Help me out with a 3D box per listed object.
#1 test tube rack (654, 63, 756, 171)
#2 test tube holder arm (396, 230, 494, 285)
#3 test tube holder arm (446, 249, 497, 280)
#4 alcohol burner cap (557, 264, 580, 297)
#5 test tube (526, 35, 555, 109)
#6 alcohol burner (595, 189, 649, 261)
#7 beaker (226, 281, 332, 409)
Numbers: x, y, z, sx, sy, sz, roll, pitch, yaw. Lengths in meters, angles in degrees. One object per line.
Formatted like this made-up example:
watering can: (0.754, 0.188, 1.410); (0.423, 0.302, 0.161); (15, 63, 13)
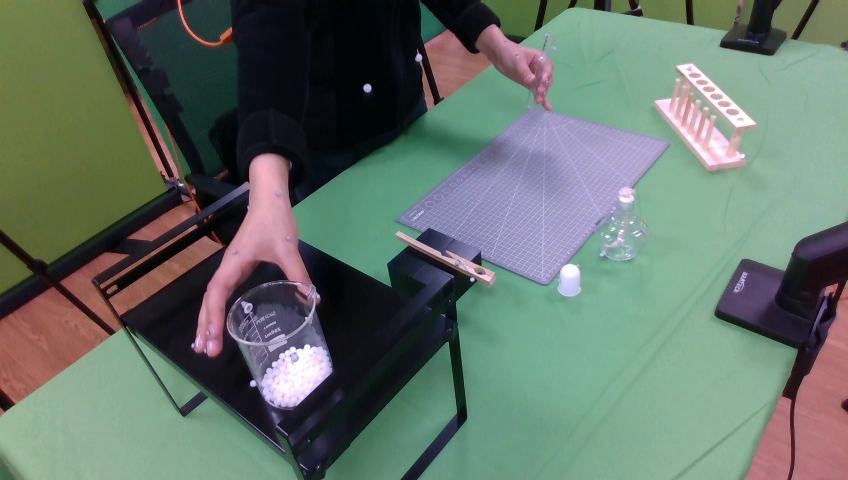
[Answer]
test tube rack: (0.510, -0.233, 1.120); (0.067, 0.085, 0.241); (-8, 41, -1)
test tube holder arm: (0.026, 0.023, 0.872); (0.177, 0.015, 0.013); (25, 61, 32)
test tube holder arm: (0.064, 0.035, 0.851); (0.087, 0.015, 0.010); (25, 61, 32)
alcohol burner cap: (0.208, 0.054, 0.866); (0.034, 0.048, 0.033); (-4, 41, 4)
test tube: (0.197, -0.283, 1.034); (0.017, 0.150, 0.017); (4, 53, -4)
alcohol burner: (0.294, -0.028, 0.894); (0.078, 0.119, 0.077); (-4, 43, 4)
beaker: (-0.123, 0.096, 0.546); (0.073, 0.100, 0.084); (27, 51, 33)
